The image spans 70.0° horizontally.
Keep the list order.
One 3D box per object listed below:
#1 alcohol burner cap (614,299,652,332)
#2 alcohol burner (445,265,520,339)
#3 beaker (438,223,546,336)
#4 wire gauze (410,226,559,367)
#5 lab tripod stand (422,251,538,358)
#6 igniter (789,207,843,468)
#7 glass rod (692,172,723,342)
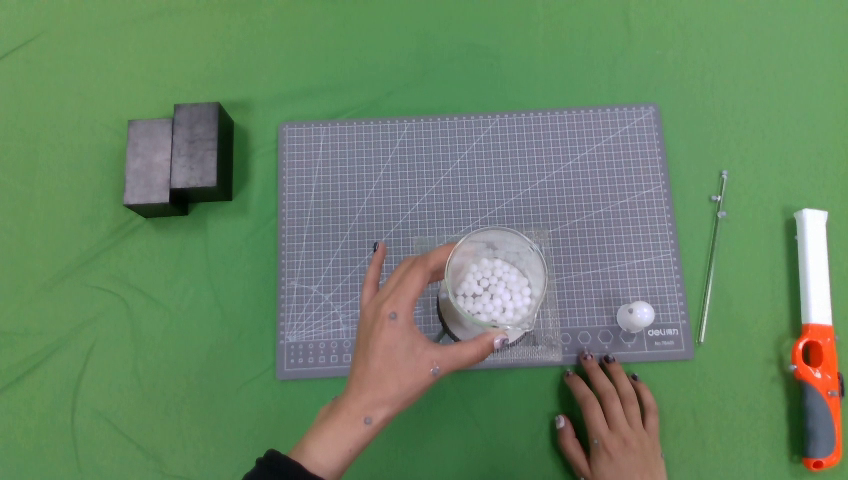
[{"bbox_3d":[0.224,0.079,0.643,0.034,0.048,0.033,-1,75,3],"label":"alcohol burner cap"},{"bbox_3d":[0.060,0.060,0.614,0.078,0.119,0.077,0,74,1],"label":"alcohol burner"},{"bbox_3d":[0.055,0.039,0.476,0.074,0.101,0.083,-33,76,-4],"label":"beaker"},{"bbox_3d":[0.053,0.048,0.537,0.125,0.011,0.121,-4,76,-1],"label":"wire gauze"},{"bbox_3d":[0.055,0.067,0.602,0.148,0.132,0.147,0,75,2],"label":"lab tripod stand"},{"bbox_3d":[0.415,0.099,0.646,0.057,0.025,0.275,7,77,-9],"label":"igniter"},{"bbox_3d":[0.317,0.016,0.677,0.008,0.008,0.199,14,78,4],"label":"glass rod"}]
